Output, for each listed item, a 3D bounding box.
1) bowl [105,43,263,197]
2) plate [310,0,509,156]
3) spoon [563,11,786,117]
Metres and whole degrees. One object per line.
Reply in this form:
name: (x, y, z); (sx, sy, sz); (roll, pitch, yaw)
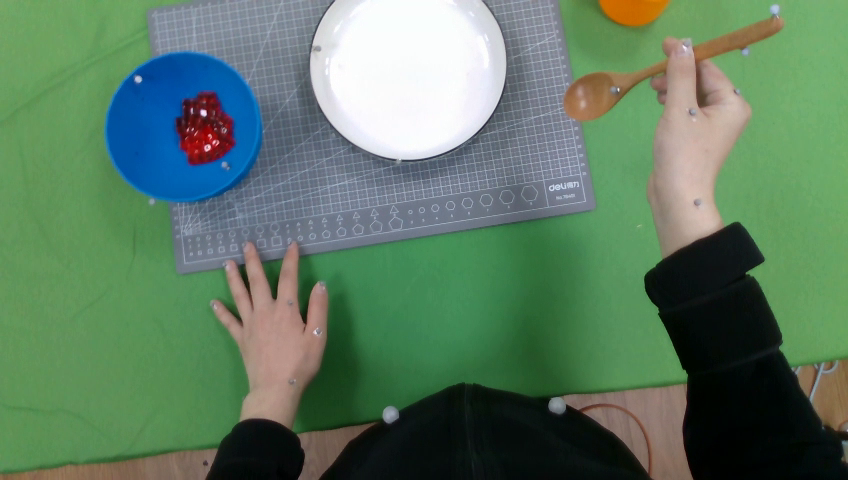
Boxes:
bowl: (-0.230, -0.112, 0.617); (0.151, 0.077, 0.151); (0, 85, 0)
plate: (-0.014, -0.189, 0.643); (0.209, 0.038, 0.208); (0, 84, 1)
spoon: (0.184, -0.136, 0.477); (0.022, 0.193, 0.041); (-4, 88, -30)
